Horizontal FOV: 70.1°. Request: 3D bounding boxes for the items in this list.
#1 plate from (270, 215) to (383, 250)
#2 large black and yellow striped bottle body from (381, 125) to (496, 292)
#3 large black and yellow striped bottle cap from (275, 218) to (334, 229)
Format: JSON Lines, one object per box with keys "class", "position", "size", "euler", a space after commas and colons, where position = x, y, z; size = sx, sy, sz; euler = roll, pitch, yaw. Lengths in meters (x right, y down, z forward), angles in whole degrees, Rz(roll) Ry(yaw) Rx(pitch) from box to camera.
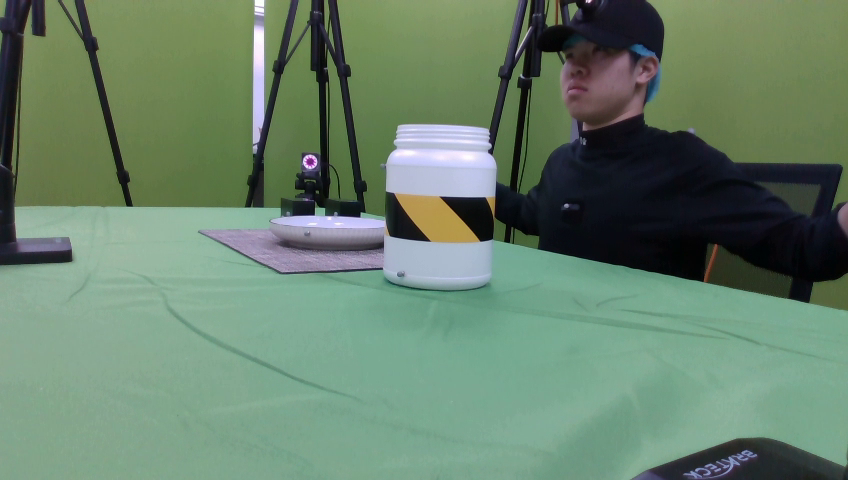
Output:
{"class": "plate", "position": [-0.145, -0.013, 0.992], "size": [0.208, 0.039, 0.207], "euler": [2, 7, 0]}
{"class": "large black and yellow striped bottle body", "position": [0.017, -0.040, 0.715], "size": [0.131, 0.184, 0.130], "euler": [3, 7, 0]}
{"class": "large black and yellow striped bottle cap", "position": [-0.236, -0.033, 1.197], "size": [0.115, 0.019, 0.115], "euler": [2, 3, 0]}
